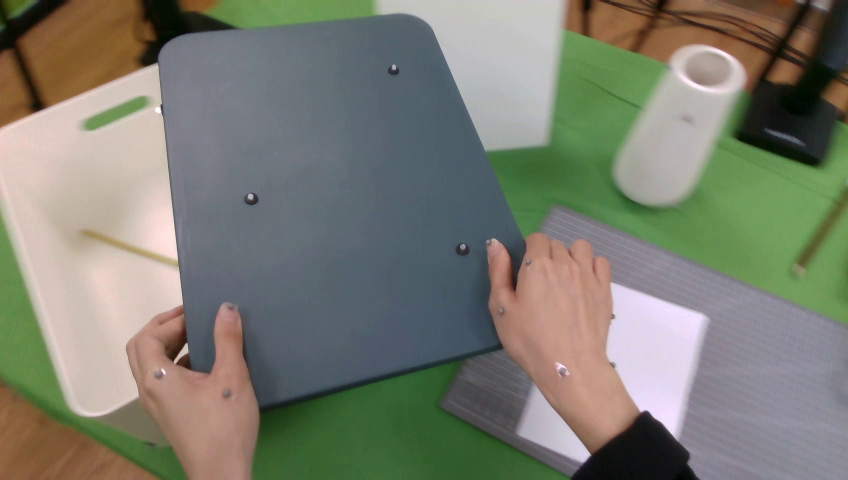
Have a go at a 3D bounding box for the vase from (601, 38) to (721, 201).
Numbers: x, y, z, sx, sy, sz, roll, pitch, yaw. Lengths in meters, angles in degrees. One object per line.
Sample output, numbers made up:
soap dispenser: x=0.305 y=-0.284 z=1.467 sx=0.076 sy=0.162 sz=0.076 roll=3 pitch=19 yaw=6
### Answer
vase: x=0.272 y=-0.135 z=0.707 sx=0.098 sy=0.201 sz=0.097 roll=0 pitch=58 yaw=1

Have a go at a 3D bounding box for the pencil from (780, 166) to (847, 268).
pencil: x=0.485 y=-0.030 z=0.754 sx=0.012 sy=0.012 sz=0.193 roll=36 pitch=67 yaw=20

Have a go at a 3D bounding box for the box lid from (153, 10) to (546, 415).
box lid: x=-0.076 y=-0.059 z=0.507 sx=0.264 sy=0.015 sz=0.368 roll=-12 pitch=62 yaw=-14

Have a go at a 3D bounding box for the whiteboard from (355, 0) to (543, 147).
whiteboard: x=0.026 y=-0.283 z=0.770 sx=0.217 sy=0.308 sz=0.142 roll=-6 pitch=40 yaw=-3

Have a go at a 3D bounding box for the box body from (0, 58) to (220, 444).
box body: x=-0.268 y=0.000 z=0.650 sx=0.254 sy=0.162 sz=0.360 roll=-31 pitch=64 yaw=-17

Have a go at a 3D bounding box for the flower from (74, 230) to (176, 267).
flower: x=-0.264 y=0.035 z=0.707 sx=0.360 sy=0.038 sz=0.044 roll=15 pitch=89 yaw=14
